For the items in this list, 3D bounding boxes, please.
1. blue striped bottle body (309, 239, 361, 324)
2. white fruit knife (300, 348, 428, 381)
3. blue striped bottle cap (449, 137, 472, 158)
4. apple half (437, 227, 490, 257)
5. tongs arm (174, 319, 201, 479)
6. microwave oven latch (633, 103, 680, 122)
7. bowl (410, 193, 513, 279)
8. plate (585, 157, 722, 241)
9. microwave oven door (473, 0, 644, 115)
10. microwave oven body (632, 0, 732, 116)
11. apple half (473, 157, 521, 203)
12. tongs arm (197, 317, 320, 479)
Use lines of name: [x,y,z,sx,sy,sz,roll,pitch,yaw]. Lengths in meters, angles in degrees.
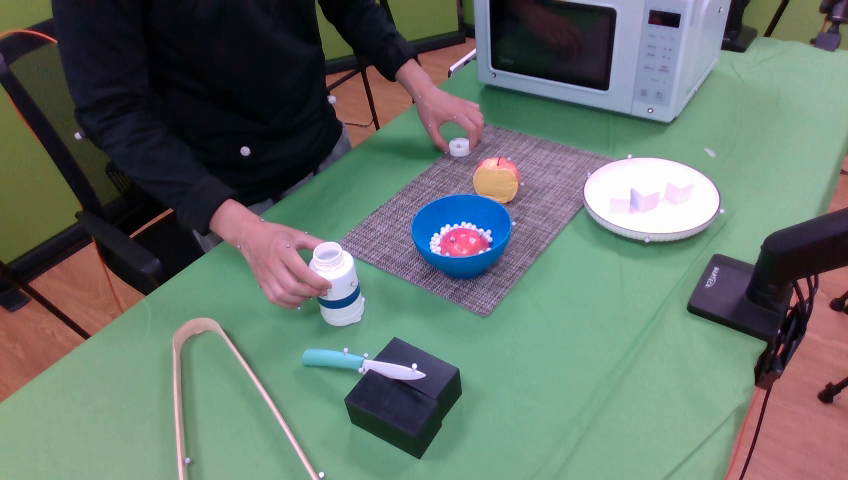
blue striped bottle body: [-0.124,0.056,0.840,0.063,0.121,0.063,-1,40,1]
white fruit knife: [-0.080,0.154,0.748,0.206,0.027,0.016,0,20,34]
blue striped bottle cap: [0.070,-0.179,1.168,0.044,0.021,0.044,-6,41,6]
apple half: [0.056,0.002,0.902,0.081,0.033,0.081,-3,41,3]
tongs arm: [-0.272,0.234,0.723,0.051,0.026,0.381,-19,40,-15]
microwave oven latch: [0.444,-0.249,1.157,0.078,0.029,0.030,21,48,30]
bowl: [0.058,0.005,0.905,0.151,0.077,0.150,-4,40,4]
plate: [0.367,-0.063,0.979,0.207,0.039,0.206,-4,40,4]
microwave oven door: [0.257,-0.396,1.199,0.353,0.245,0.039,21,48,29]
microwave oven body: [0.377,-0.462,1.267,0.438,0.261,0.327,21,49,30]
apple half: [0.128,-0.106,1.030,0.080,0.075,0.053,4,38,19]
tongs arm: [-0.199,0.207,0.750,0.028,0.028,0.384,-31,45,-22]
